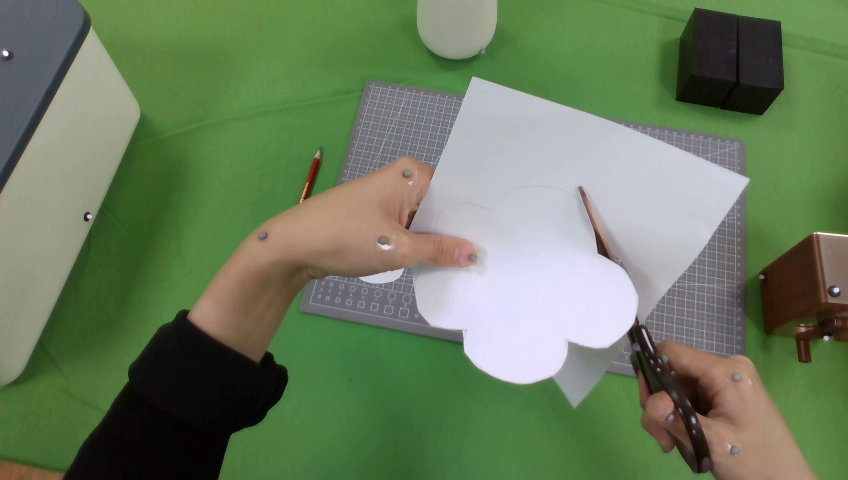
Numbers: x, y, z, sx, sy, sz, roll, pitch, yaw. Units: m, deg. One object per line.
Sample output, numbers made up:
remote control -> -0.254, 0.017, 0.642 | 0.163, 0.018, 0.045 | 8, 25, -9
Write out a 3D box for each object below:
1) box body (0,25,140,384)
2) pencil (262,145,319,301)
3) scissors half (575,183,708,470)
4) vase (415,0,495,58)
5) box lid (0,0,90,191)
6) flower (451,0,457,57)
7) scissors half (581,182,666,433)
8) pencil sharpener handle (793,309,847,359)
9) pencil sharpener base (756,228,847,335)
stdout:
box body -> -0.478, -0.058, 0.594 | 0.254, 0.161, 0.361 | 10, 67, 5
pencil -> -0.142, -0.024, 0.663 | 0.012, 0.012, 0.193 | 11, 66, 5
scissors half -> 0.121, 0.048, 0.341 | 0.013, 0.040, 0.175 | -23, 87, 2
vase -> 0.035, -0.300, 0.676 | 0.098, 0.201, 0.097 | 0, 65, 1
box lid -> -0.479, -0.090, 0.526 | 0.263, 0.015, 0.369 | 11, 67, 4
flower -> 0.030, -0.346, 0.605 | 0.044, 0.365, 0.038 | 3, 49, 6
scissors half -> 0.121, 0.044, 0.362 | 0.013, 0.039, 0.176 | -22, 112, 6
pencil sharpener handle -> 0.364, 0.087, 0.547 | 0.036, 0.068, 0.030 | 11, 67, -10
pencil sharpener base -> 0.374, 0.046, 0.578 | 0.061, 0.108, 0.076 | 6, 67, 3
